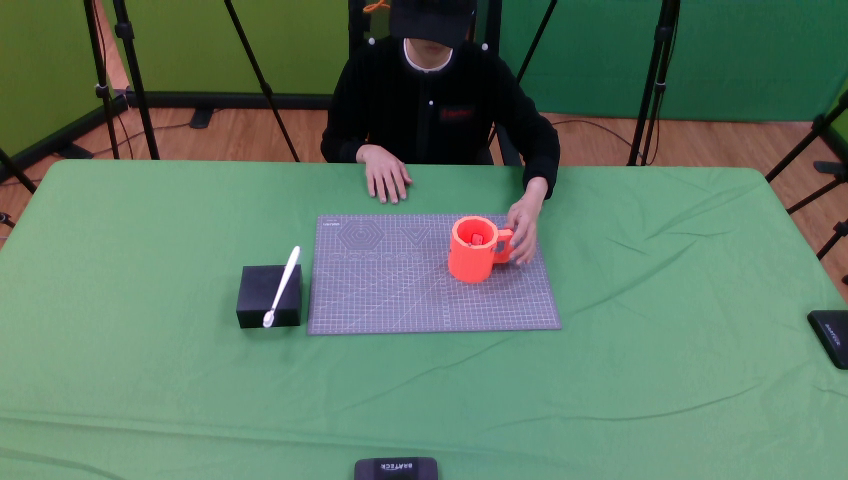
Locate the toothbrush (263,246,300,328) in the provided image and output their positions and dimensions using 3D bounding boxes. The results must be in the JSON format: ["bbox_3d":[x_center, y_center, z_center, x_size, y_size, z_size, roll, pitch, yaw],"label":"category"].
[{"bbox_3d":[-0.243,0.074,1.042,0.014,0.017,0.181,5,45,6],"label":"toothbrush"}]

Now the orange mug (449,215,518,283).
[{"bbox_3d":[0.110,0.015,1.130,0.126,0.101,0.083,-8,47,-6],"label":"orange mug"}]
